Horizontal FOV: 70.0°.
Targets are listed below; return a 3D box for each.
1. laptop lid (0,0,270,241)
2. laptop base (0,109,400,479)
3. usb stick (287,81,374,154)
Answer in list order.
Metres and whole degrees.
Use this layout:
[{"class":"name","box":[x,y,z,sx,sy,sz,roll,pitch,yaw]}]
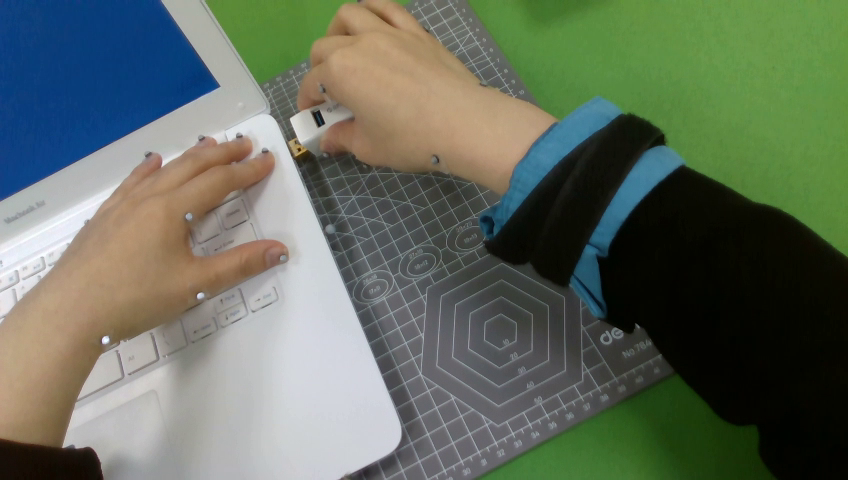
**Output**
[{"class":"laptop lid","box":[-0.299,-0.089,0.337,0.357,0.244,0.013,-28,41,3]},{"class":"laptop base","box":[-0.210,0.086,0.368,0.354,0.023,0.233,-27,69,2]},{"class":"usb stick","box":[-0.063,-0.074,0.379,0.059,0.027,0.021,-27,77,12]}]
